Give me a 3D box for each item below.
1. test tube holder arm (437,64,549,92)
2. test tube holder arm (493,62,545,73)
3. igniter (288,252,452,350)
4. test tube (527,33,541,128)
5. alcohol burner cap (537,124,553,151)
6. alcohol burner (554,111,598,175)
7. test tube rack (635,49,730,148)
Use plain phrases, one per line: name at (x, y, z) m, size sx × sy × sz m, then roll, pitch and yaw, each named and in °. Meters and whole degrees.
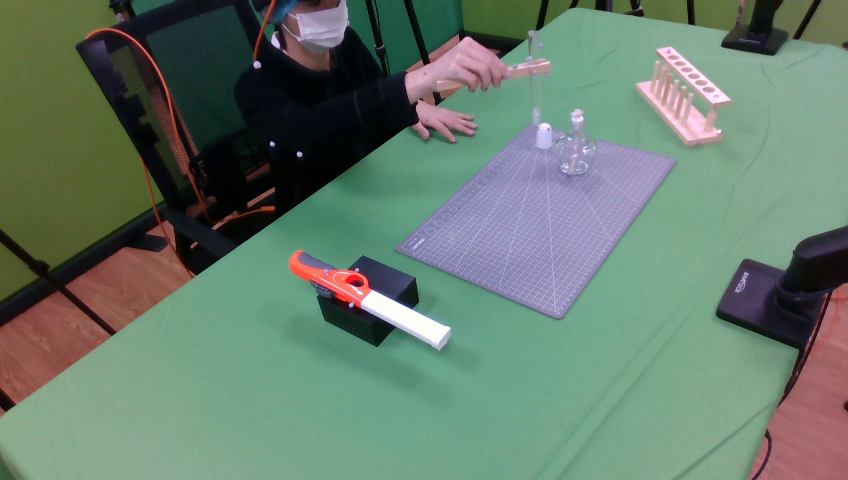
test tube holder arm at (0.105, -0.245, 0.911) m, size 0.179 × 0.015 × 0.013 m, roll -13°, pitch 29°, yaw -12°
test tube holder arm at (0.146, -0.258, 0.926) m, size 0.088 × 0.015 × 0.010 m, roll -17°, pitch 30°, yaw -18°
igniter at (-0.084, 0.077, 0.821) m, size 0.274 × 0.025 × 0.057 m, roll 23°, pitch 48°, yaw 27°
test tube at (0.171, -0.245, 0.940) m, size 0.017 × 0.151 × 0.017 m, roll -6°, pitch 34°, yaw 5°
alcohol burner cap at (0.232, -0.199, 1.158) m, size 0.034 × 0.048 × 0.033 m, roll -5°, pitch 40°, yaw 4°
alcohol burner at (0.270, -0.175, 1.066) m, size 0.078 × 0.119 × 0.077 m, roll -4°, pitch 42°, yaw 4°
test tube rack at (0.497, -0.283, 1.185) m, size 0.067 × 0.085 × 0.240 m, roll -10°, pitch 40°, yaw -2°
